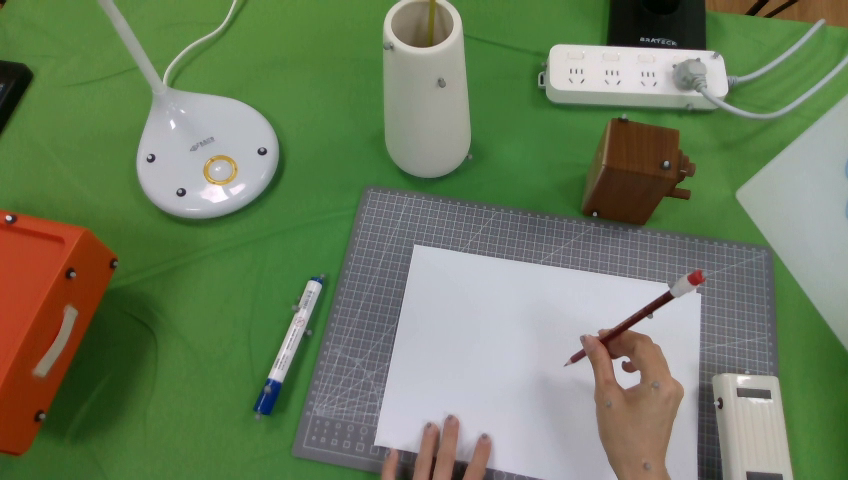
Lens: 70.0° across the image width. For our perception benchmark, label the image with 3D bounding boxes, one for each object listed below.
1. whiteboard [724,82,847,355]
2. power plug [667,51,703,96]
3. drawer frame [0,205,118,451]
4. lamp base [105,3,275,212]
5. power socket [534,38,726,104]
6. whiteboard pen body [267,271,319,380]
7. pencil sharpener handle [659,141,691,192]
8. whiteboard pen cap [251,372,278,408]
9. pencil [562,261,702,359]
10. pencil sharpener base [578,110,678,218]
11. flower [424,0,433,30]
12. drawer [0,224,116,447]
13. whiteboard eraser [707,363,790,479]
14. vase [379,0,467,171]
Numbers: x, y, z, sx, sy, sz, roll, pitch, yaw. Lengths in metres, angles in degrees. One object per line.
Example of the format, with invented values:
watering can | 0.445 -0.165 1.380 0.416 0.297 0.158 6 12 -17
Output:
whiteboard | 0.483 -0.062 0.548 0.144 0.307 0.215 -13 64 -25
power plug | 0.297 -0.185 0.696 0.035 0.053 0.072 13 68 8
drawer frame | -0.432 0.064 0.549 0.213 0.083 0.200 12 67 4
lamp base | -0.263 -0.144 0.632 0.178 0.181 0.160 41 72 20
power socket | 0.248 -0.204 0.731 0.227 0.033 0.071 4 67 2
whiteboard pen body | -0.135 0.094 0.609 0.017 0.017 0.140 13 63 8
pencil sharpener handle | 0.261 -0.071 0.617 0.030 0.068 0.036 11 65 6
whiteboard pen cap | -0.152 0.143 0.582 0.018 0.018 0.033 14 61 8
pencil | 0.163 0.066 0.505 0.012 0.195 0.012 9 57 -15
pencil sharpener base | 0.212 -0.076 0.633 0.076 0.108 0.061 11 66 6
flower | 0.005 -0.205 0.555 0.038 0.365 0.043 -2 47 -7
drawer | -0.426 0.063 0.547 0.211 0.074 0.193 12 67 6
whiteboard eraser | 0.294 0.171 0.554 0.055 0.042 0.112 4 66 1
vase | -0.003 -0.155 0.623 0.098 0.201 0.097 -1 65 2
